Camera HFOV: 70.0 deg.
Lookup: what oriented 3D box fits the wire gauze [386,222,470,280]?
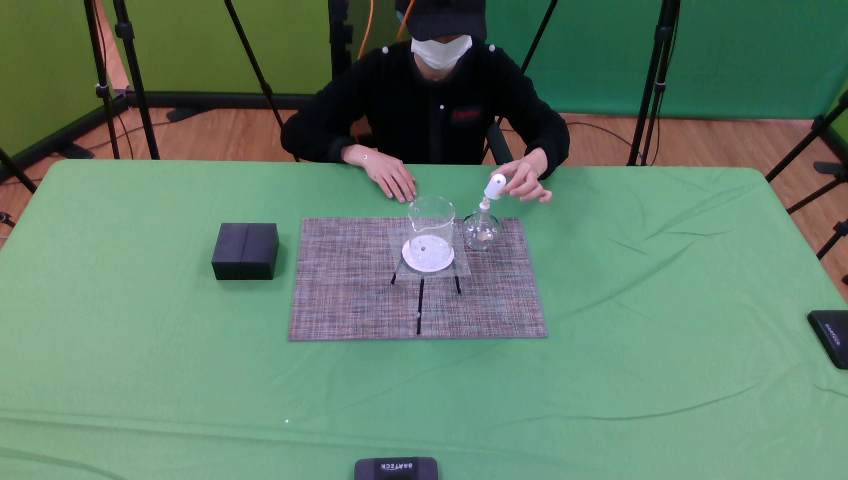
[{"bbox_3d":[0.005,0.018,1.006,0.125,0.011,0.120,-7,45,-5],"label":"wire gauze"}]

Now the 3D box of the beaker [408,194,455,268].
[{"bbox_3d":[0.009,-0.010,0.965,0.074,0.101,0.084,23,50,20],"label":"beaker"}]

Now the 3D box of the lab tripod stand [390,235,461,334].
[{"bbox_3d":[-0.001,0.067,1.050,0.148,0.132,0.147,1,47,-1],"label":"lab tripod stand"}]

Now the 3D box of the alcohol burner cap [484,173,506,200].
[{"bbox_3d":[0.132,-0.100,1.102,0.034,0.048,0.033,11,43,-10],"label":"alcohol burner cap"}]

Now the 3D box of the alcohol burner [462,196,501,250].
[{"bbox_3d":[0.112,-0.037,1.173,0.078,0.120,0.077,1,45,-1],"label":"alcohol burner"}]
